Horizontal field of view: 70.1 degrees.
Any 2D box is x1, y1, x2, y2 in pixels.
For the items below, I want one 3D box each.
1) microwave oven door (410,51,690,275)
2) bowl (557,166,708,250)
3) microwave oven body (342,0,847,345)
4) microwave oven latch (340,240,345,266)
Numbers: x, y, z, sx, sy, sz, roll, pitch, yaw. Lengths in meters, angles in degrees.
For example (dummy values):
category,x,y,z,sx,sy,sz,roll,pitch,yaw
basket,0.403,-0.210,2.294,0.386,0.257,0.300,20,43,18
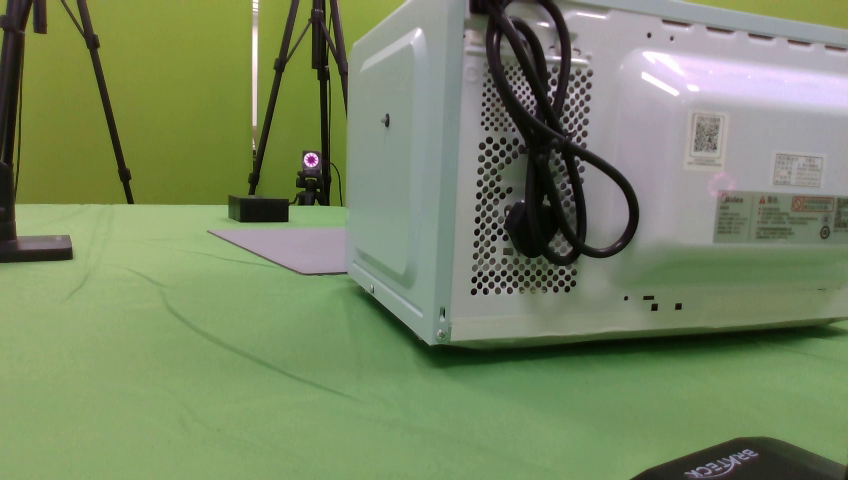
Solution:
category,x,y,z,sx,sy,sz,roll,pitch,yaw
microwave oven door,0.161,-0.084,0.723,0.357,0.243,0.039,0,8,-20
bowl,0.214,-0.035,0.640,0.151,0.077,0.151,2,11,0
microwave oven body,0.169,-0.060,0.573,0.444,0.260,0.324,1,7,-20
microwave oven latch,-0.052,0.016,0.662,0.079,0.029,0.030,1,7,-19
